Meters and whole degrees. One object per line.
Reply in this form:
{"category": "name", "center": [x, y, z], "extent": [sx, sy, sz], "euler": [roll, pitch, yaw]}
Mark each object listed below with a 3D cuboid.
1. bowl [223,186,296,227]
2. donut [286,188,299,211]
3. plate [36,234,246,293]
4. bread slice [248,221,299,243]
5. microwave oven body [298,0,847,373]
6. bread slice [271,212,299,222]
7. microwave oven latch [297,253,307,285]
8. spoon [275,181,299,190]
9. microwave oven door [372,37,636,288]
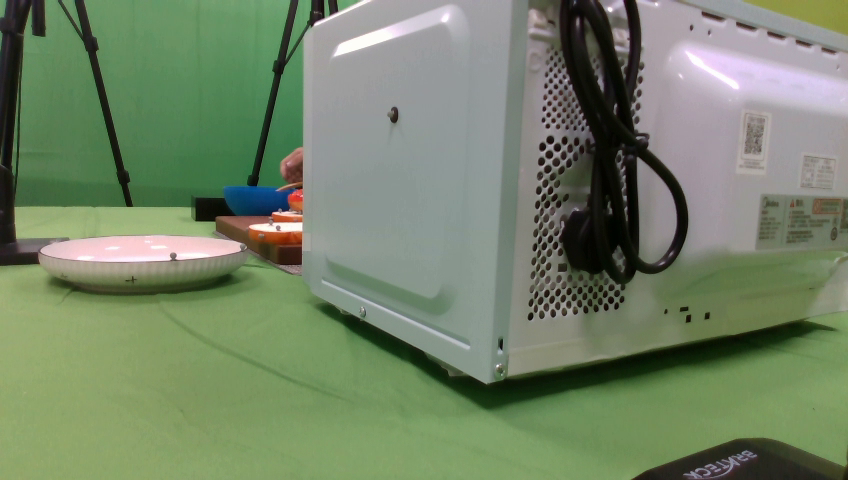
{"category": "bowl", "center": [-0.330, -0.068, 1.230], "extent": [0.151, 0.077, 0.151], "euler": [3, 7, 0]}
{"category": "donut", "center": [-0.190, -0.068, 1.055], "extent": [0.099, 0.048, 0.099], "euler": [4, 7, 0]}
{"category": "plate", "center": [-0.305, 0.026, 0.668], "extent": [0.208, 0.039, 0.207], "euler": [3, 7, 0]}
{"category": "bread slice", "center": [-0.174, -0.012, 0.844], "extent": [0.135, 0.018, 0.106], "euler": [-6, 11, -44]}
{"category": "microwave oven body", "center": [0.151, -0.055, 0.542], "extent": [0.444, 0.260, 0.324], "euler": [-2, 7, -33]}
{"category": "bread slice", "center": [-0.197, -0.038, 1.051], "extent": [0.132, 0.019, 0.104], "euler": [0, 6, -30]}
{"category": "microwave oven latch", "center": [-0.082, 0.027, 0.582], "extent": [0.079, 0.029, 0.030], "euler": [-1, 7, -32]}
{"category": "spoon", "center": [-0.300, -0.102, 1.259], "extent": [0.041, 0.021, 0.194], "euler": [1, 24, 37]}
{"category": "microwave oven door", "center": [0.109, -0.080, 0.686], "extent": [0.358, 0.243, 0.039], "euler": [-2, 9, -33]}
